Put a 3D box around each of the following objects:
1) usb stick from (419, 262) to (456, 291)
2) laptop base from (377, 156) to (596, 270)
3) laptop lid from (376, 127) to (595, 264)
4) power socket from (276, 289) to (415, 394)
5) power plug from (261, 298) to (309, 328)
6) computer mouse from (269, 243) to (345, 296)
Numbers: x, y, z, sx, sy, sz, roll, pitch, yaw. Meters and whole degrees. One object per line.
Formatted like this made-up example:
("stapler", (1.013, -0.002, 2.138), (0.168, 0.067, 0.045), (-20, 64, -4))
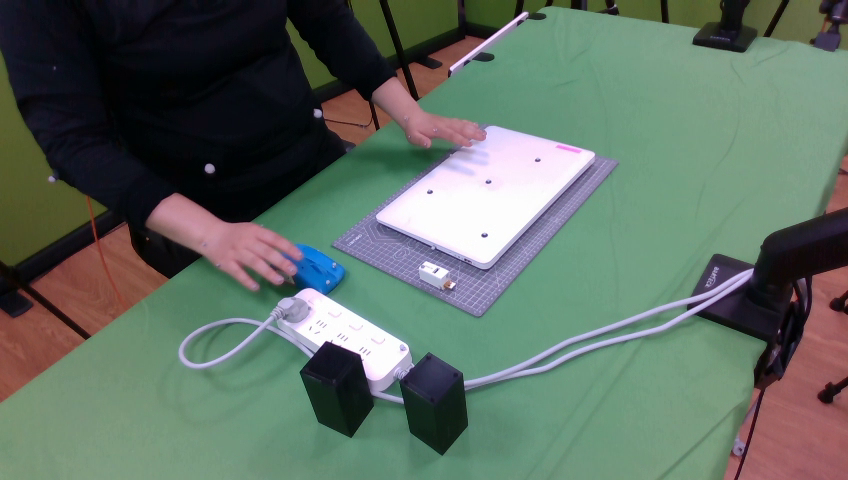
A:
("usb stick", (0.022, 0.056, 0.892), (0.059, 0.027, 0.021), (25, 46, 30))
("laptop base", (0.115, -0.086, 1.056), (0.233, 0.023, 0.355), (21, 48, 34))
("laptop lid", (0.112, -0.096, 1.050), (0.239, 0.013, 0.358), (24, 49, 34))
("power socket", (-0.114, 0.133, 0.821), (0.225, 0.033, 0.072), (25, 49, 33))
("power plug", (-0.192, 0.107, 0.831), (0.073, 0.053, 0.035), (-33, 43, -25))
("computer mouse", (-0.182, 0.043, 0.933), (0.116, 0.041, 0.063), (24, 47, 25))
